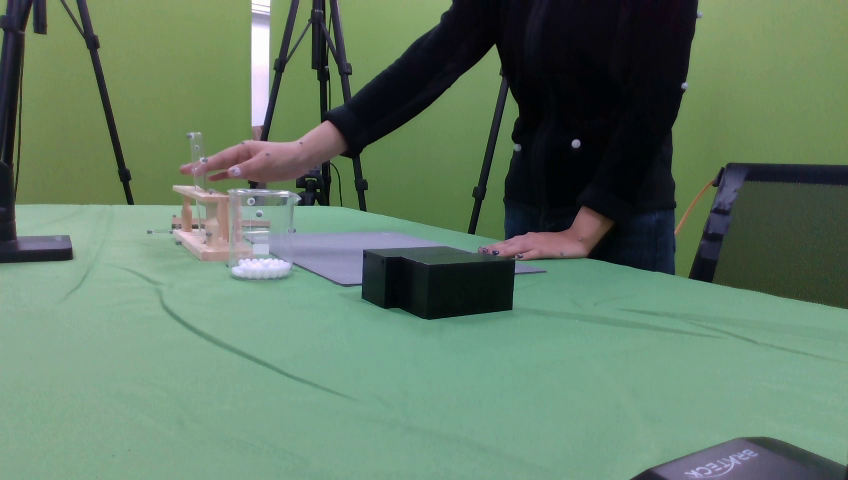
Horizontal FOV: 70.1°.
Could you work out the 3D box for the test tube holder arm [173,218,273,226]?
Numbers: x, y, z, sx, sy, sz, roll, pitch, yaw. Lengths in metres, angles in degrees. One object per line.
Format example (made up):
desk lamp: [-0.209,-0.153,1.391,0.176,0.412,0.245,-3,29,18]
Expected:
test tube holder arm: [-0.371,-0.033,1.128,0.179,0.015,0.013,-1,-23,-25]

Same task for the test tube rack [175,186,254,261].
test tube rack: [-0.314,-0.030,0.889,0.067,0.085,0.241,-2,8,-30]

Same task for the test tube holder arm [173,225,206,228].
test tube holder arm: [-0.415,-0.030,1.113,0.088,0.015,0.010,-1,-23,-25]

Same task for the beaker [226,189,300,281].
beaker: [-0.184,-0.007,0.694,0.084,0.100,0.073,-1,8,-29]

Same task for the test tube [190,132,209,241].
test tube: [-0.309,-0.073,0.839,0.017,0.150,0.017,-4,5,1]

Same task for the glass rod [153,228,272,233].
glass rod: [-0.368,-0.017,1.065,0.201,0.008,0.008,-2,8,-27]
